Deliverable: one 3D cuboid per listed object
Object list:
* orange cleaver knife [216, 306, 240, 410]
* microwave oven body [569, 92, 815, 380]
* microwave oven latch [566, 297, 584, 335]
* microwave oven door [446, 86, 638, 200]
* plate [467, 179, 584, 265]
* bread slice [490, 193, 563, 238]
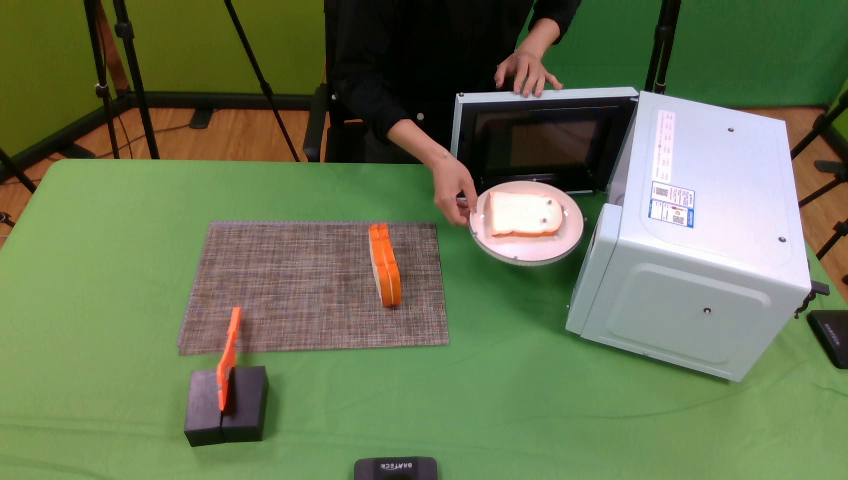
[{"bbox_3d":[-0.307,0.180,0.957,0.012,0.077,0.210,-2,25,-8],"label":"orange cleaver knife"},{"bbox_3d":[0.468,-0.021,1.082,0.325,0.261,0.440,15,46,11],"label":"microwave oven body"},{"bbox_3d":[0.268,0.126,1.059,0.030,0.029,0.079,16,46,12],"label":"microwave oven latch"},{"bbox_3d":[0.230,-0.192,1.222,0.356,0.245,0.039,-4,46,-8],"label":"microwave oven door"},{"bbox_3d":[0.182,-0.029,1.104,0.208,0.039,0.206,-2,47,2],"label":"plate"},{"bbox_3d":[0.188,-0.047,1.119,0.134,0.018,0.106,-2,50,3],"label":"bread slice"}]
